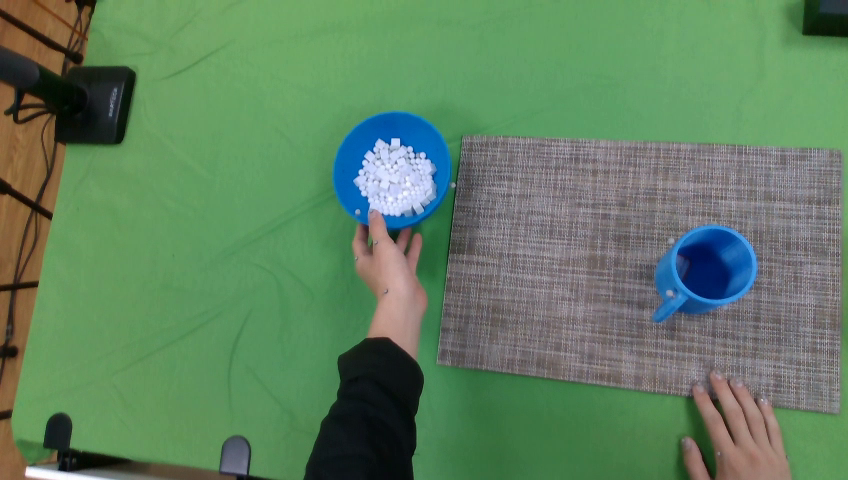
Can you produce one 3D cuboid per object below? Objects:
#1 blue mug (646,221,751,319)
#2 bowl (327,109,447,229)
[{"bbox_3d":[0.287,0.043,0.664,0.082,0.106,0.116,44,90,16],"label":"blue mug"},{"bbox_3d":[-0.039,-0.081,0.771,0.151,0.077,0.150,-2,79,11],"label":"bowl"}]
